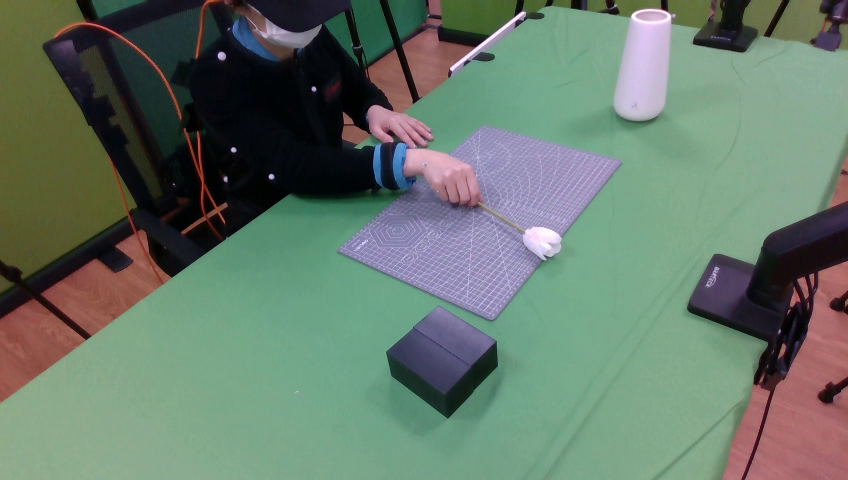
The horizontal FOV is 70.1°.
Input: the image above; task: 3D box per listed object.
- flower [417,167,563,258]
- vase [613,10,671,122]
[{"bbox_3d":[0.094,-0.063,1.025,0.038,0.044,0.358,12,17,-44],"label":"flower"},{"bbox_3d":[0.419,-0.326,1.151,0.098,0.201,0.097,-4,42,4],"label":"vase"}]
